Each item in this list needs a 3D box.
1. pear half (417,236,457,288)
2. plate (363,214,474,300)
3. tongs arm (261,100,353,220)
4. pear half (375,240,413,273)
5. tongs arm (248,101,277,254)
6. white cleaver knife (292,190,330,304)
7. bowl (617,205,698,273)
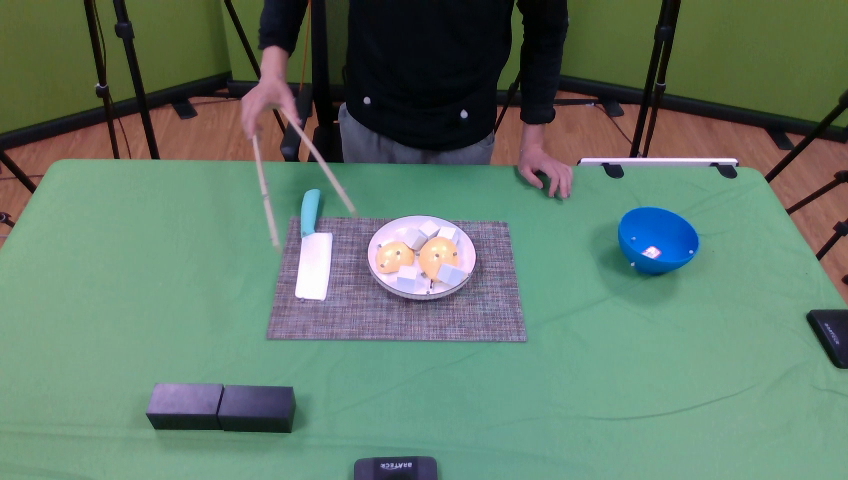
[{"bbox_3d":[0.022,0.039,1.127,0.076,0.056,0.109,6,50,7],"label":"pear half"},{"bbox_3d":[-0.010,0.036,1.146,0.208,0.039,0.206,3,46,-2],"label":"plate"},{"bbox_3d":[-0.222,-0.161,1.132,0.028,0.028,0.385,-34,54,-6],"label":"tongs arm"},{"bbox_3d":[-0.059,0.026,1.145,0.070,0.031,0.088,22,43,21],"label":"pear half"},{"bbox_3d":[-0.290,-0.129,1.125,0.051,0.027,0.382,-23,52,-1],"label":"tongs arm"},{"bbox_3d":[-0.217,0.008,1.180,0.066,0.021,0.284,10,48,-17],"label":"white cleaver knife"},{"bbox_3d":[0.444,0.011,1.182,0.151,0.077,0.150,2,46,-2],"label":"bowl"}]
